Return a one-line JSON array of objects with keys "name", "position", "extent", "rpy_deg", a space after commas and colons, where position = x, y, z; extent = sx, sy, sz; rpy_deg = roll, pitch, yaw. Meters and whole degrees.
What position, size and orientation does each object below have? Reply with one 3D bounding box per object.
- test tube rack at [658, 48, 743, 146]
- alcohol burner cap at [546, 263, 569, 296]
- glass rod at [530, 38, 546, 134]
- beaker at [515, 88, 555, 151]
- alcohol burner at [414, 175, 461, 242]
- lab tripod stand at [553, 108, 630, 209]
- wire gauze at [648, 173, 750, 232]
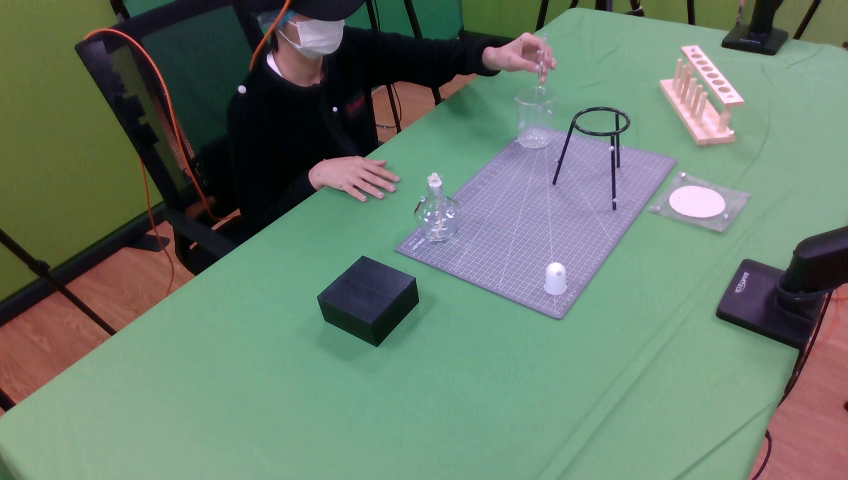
[{"name": "test tube rack", "position": [0.532, -0.284, 1.181], "extent": [0.067, 0.085, 0.241], "rpy_deg": [-5, 40, 4]}, {"name": "alcohol burner cap", "position": [0.191, 0.053, 0.862], "extent": [0.034, 0.048, 0.033], "rpy_deg": [-5, 40, 4]}, {"name": "glass rod", "position": [0.210, -0.280, 1.124], "extent": [0.008, 0.200, 0.008], "rpy_deg": [0, 45, 1]}, {"name": "beaker", "position": [0.213, -0.230, 1.152], "extent": [0.073, 0.101, 0.084], "rpy_deg": [20, 47, 29]}, {"name": "alcohol burner", "position": [0.020, -0.055, 0.963], "extent": [0.078, 0.119, 0.077], "rpy_deg": [-3, 41, 4]}, {"name": "lab tripod stand", "position": [0.292, -0.144, 1.010], "extent": [0.148, 0.132, 0.147], "rpy_deg": [-5, 38, 4]}, {"name": "wire gauze", "position": [0.451, -0.062, 0.990], "extent": [0.120, 0.011, 0.125], "rpy_deg": [26, 49, 32]}]
